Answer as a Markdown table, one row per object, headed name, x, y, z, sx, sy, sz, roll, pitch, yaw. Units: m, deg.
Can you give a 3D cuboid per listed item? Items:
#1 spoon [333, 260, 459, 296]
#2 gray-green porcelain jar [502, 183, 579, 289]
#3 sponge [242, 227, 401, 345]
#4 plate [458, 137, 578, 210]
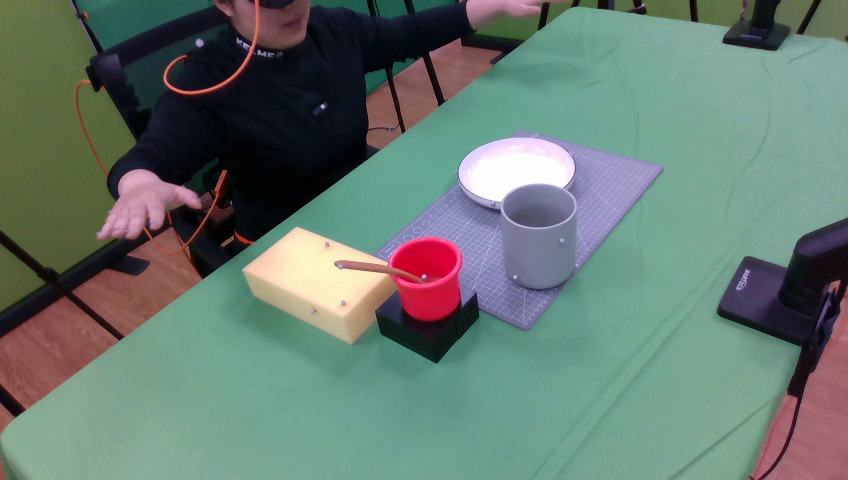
| name | x | y | z | sx | sy | sz | roll | pitch | yaw |
| --- | --- | --- | --- | --- | --- | --- | --- | --- | --- |
| spoon | -0.031 | 0.045 | 0.762 | 0.195 | 0.021 | 0.041 | 19 | 20 | -39 |
| gray-green porcelain jar | 0.166 | -0.001 | 0.866 | 0.106 | 0.127 | 0.105 | -5 | 40 | 5 |
| sponge | -0.154 | 0.063 | 0.907 | 0.205 | 0.061 | 0.118 | 19 | 48 | 29 |
| plate | 0.166 | -0.113 | 1.068 | 0.207 | 0.039 | 0.206 | -5 | 40 | 5 |
